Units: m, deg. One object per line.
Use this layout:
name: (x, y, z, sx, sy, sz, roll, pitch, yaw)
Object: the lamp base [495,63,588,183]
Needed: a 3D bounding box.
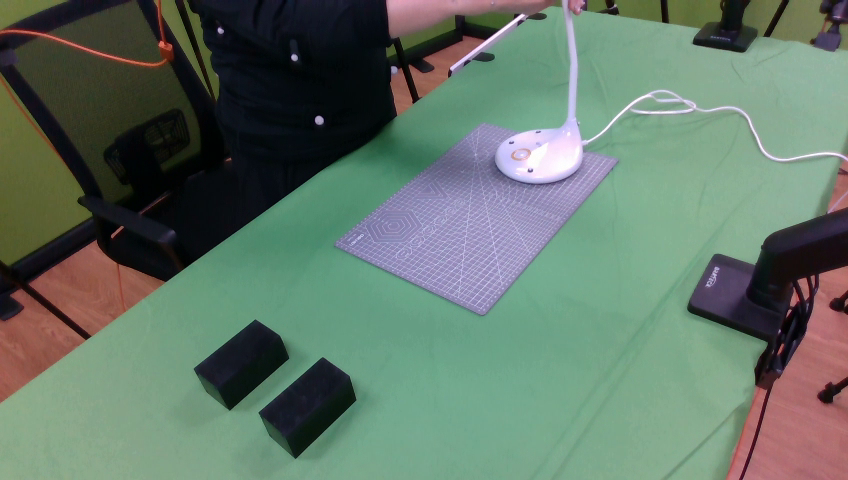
lamp base: (0.215, -0.217, 1.067, 0.180, 0.181, 0.159, -20, 42, -18)
